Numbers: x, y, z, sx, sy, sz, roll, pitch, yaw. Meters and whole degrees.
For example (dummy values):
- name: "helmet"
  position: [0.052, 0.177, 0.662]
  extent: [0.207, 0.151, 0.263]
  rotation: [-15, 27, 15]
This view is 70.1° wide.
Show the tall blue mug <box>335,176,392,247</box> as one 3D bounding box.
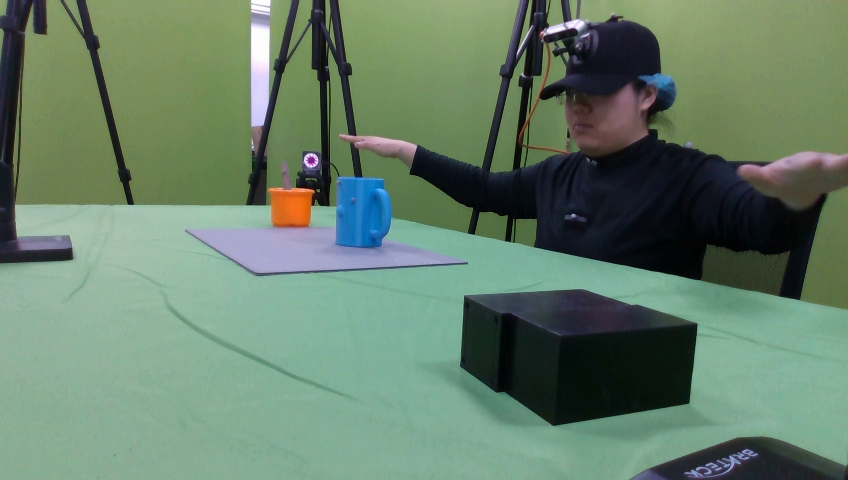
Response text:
- name: "tall blue mug"
  position: [-0.089, -0.046, 0.971]
  extent: [0.107, 0.108, 0.078]
  rotation: [5, 7, 20]

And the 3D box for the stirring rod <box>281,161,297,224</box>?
- name: "stirring rod"
  position: [-0.278, -0.099, 1.239]
  extent: [0.014, 0.006, 0.175]
  rotation: [2, 49, -25]
